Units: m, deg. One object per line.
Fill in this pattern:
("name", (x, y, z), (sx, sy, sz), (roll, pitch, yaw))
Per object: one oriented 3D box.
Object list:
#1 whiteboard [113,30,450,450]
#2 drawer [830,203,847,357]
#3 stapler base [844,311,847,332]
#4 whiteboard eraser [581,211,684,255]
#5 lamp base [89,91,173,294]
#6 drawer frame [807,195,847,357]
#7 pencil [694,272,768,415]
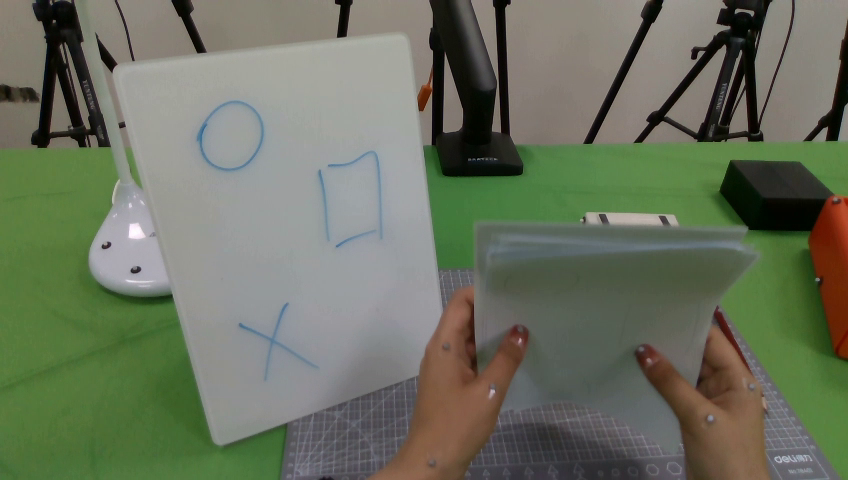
("whiteboard", (-0.117, -0.014, 0.544), (0.218, 0.307, 0.142), (-15, 20, -21))
("drawer", (0.536, 0.054, 0.635), (0.194, 0.074, 0.211), (13, 36, 15))
("stapler base", (0.493, 0.097, 0.604), (0.130, 0.024, 0.041), (18, 45, 8))
("whiteboard eraser", (0.252, -0.008, 0.738), (0.113, 0.042, 0.055), (2, 36, 0))
("lamp base", (-0.301, -0.059, 0.653), (0.178, 0.182, 0.160), (23, 41, 30))
("drawer frame", (0.536, 0.052, 0.637), (0.201, 0.083, 0.212), (12, 36, 15))
("pencil", (0.310, 0.098, 0.617), (0.012, 0.012, 0.192), (2, 38, 0))
